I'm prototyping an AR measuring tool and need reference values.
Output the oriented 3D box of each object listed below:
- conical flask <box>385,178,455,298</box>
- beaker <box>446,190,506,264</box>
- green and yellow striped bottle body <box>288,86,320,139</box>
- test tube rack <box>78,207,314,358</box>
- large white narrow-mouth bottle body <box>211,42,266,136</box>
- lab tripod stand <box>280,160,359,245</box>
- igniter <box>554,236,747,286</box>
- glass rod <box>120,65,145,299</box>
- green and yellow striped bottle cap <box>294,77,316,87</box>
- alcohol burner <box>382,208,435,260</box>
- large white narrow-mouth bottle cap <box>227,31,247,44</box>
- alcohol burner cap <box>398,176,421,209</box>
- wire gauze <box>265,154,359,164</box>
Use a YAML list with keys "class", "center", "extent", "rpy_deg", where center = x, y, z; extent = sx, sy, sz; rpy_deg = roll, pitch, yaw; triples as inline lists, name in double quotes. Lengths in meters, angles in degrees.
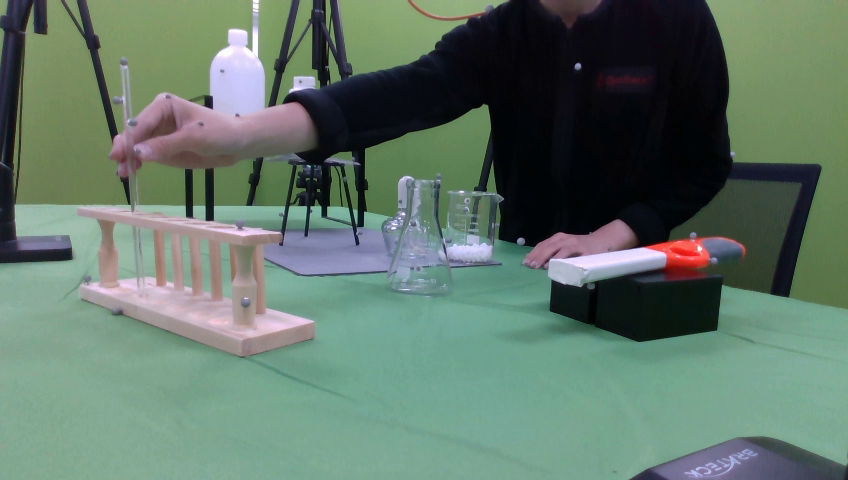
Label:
- class: "conical flask"
  center: [-0.002, -0.004, 0.639]
  extent: [0.075, 0.122, 0.075]
  rpy_deg: [3, 7, 0]
- class: "beaker"
  center: [0.071, -0.019, 0.855]
  extent: [0.084, 0.100, 0.074]
  rpy_deg: [3, 8, -1]
- class: "green and yellow striped bottle body"
  center: [-0.250, -0.272, 1.259]
  extent: [0.063, 0.119, 0.063]
  rpy_deg: [2, 8, 0]
- class: "test tube rack"
  center: [-0.197, 0.024, 0.499]
  extent: [0.241, 0.085, 0.067]
  rpy_deg: [8, 8, 37]
- class: "large white narrow-mouth bottle body"
  center: [-0.361, -0.303, 1.176]
  extent: [0.102, 0.194, 0.102]
  rpy_deg: [1, 7, 0]
- class: "lab tripod stand"
  center: [-0.176, -0.062, 0.973]
  extent: [0.148, 0.131, 0.148]
  rpy_deg: [1, 7, 0]
- class: "igniter"
  center: [0.221, 0.017, 0.558]
  extent: [0.278, 0.025, 0.057]
  rpy_deg: [-5, 14, -39]
- class: "glass rod"
  center: [-0.247, -0.048, 0.510]
  extent: [0.008, 0.199, 0.008]
  rpy_deg: [-4, 2, 0]
- class: "green and yellow striped bottle cap"
  center: [-0.247, -0.326, 1.251]
  extent: [0.045, 0.020, 0.045]
  rpy_deg: [0, 10, 0]
- class: "alcohol burner"
  center: [-0.023, -0.032, 0.872]
  extent: [0.078, 0.119, 0.078]
  rpy_deg: [0, 6, 0]
- class: "large white narrow-mouth bottle cap"
  center: [-0.360, -0.388, 1.165]
  extent: [0.038, 0.024, 0.037]
  rpy_deg: [1, 7, 0]
- class: "alcohol burner cap"
  center: [-0.023, -0.068, 0.866]
  extent: [0.034, 0.048, 0.034]
  rpy_deg: [-5, 8, 1]
- class: "wire gauze"
  center: [-0.181, -0.129, 0.969]
  extent: [0.126, 0.011, 0.121]
  rpy_deg: [-1, 6, -27]
